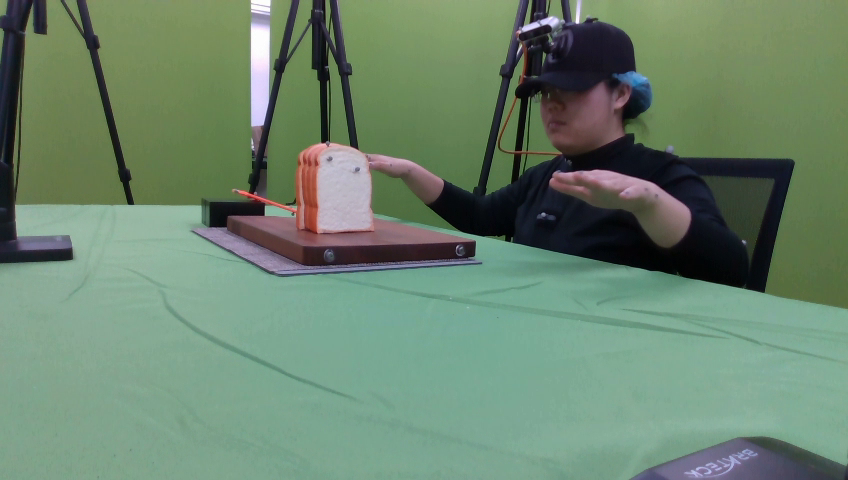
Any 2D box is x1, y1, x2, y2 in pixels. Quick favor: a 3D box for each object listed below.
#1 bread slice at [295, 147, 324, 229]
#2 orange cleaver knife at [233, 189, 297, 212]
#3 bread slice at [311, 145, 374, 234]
[{"bbox_3d":[-0.157,-0.082,0.959,0.105,0.131,0.019,-1,-2,-43],"label":"bread slice"},{"bbox_3d":[-0.279,-0.066,1.219,0.212,0.012,0.077,19,-3,-21],"label":"orange cleaver knife"},{"bbox_3d":[-0.127,-0.076,0.919,0.107,0.134,0.018,-8,8,-41],"label":"bread slice"}]
